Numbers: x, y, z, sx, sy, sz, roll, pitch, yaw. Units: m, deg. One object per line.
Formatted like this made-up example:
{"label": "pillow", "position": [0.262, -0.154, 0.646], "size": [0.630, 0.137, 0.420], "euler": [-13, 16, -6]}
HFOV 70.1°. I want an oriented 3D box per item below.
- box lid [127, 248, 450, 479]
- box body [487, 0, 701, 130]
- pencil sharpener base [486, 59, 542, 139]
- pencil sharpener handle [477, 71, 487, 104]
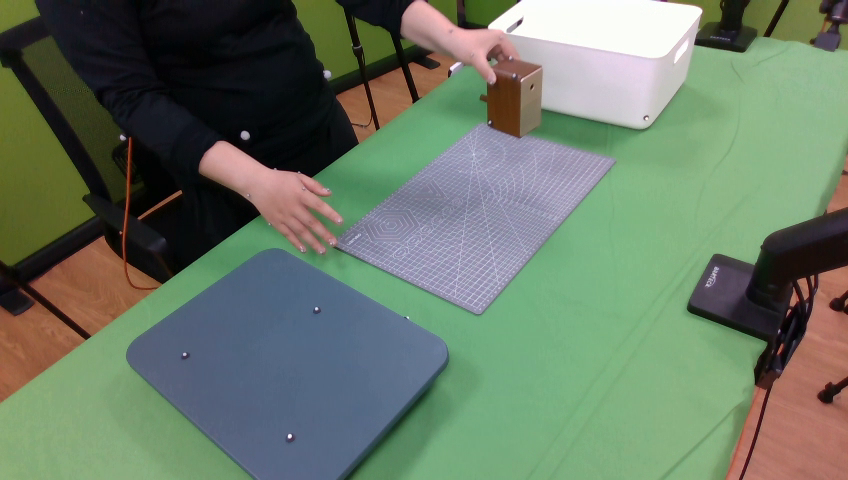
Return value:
{"label": "box lid", "position": [-0.177, 0.145, 0.768], "size": [0.368, 0.015, 0.264], "euler": [24, 50, 32]}
{"label": "box body", "position": [0.345, -0.379, 1.257], "size": [0.361, 0.161, 0.255], "euler": [20, 48, 29]}
{"label": "pencil sharpener base", "position": [0.146, -0.232, 0.992], "size": [0.076, 0.107, 0.061], "euler": [27, 50, 35]}
{"label": "pencil sharpener handle", "position": [0.105, -0.260, 1.012], "size": [0.030, 0.068, 0.036], "euler": [28, 39, 35]}
